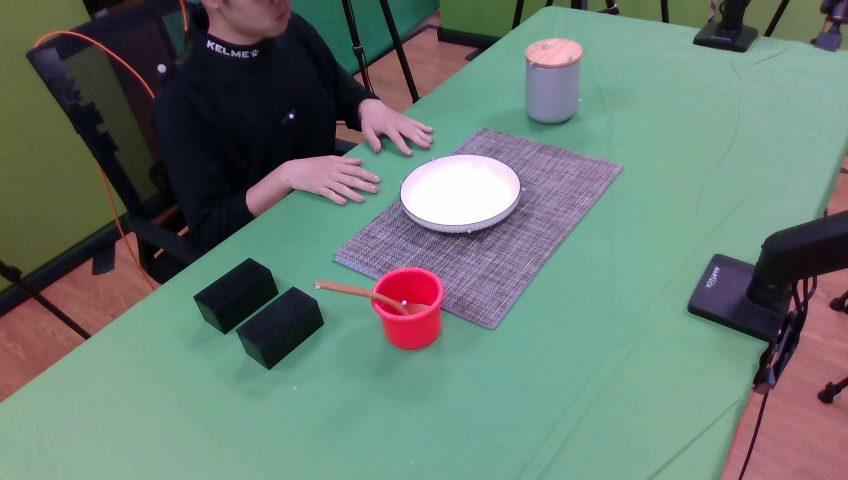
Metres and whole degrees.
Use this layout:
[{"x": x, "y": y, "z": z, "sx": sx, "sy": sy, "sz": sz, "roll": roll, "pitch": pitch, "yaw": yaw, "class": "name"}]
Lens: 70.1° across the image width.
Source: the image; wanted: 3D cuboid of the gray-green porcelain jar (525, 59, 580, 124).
[{"x": 0.256, "y": -0.305, "z": 1.209, "sx": 0.106, "sy": 0.127, "sz": 0.105, "roll": -4, "pitch": 41, "yaw": 4, "class": "gray-green porcelain jar"}]

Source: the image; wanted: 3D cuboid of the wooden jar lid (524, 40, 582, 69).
[{"x": 0.249, "y": -0.354, "z": 1.167, "sx": 0.108, "sy": 0.021, "sz": 0.108, "roll": -4, "pitch": 44, "yaw": 5, "class": "wooden jar lid"}]

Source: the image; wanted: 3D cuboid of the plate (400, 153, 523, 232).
[{"x": 0.065, "y": -0.078, "z": 1.034, "sx": 0.207, "sy": 0.039, "sz": 0.206, "roll": -4, "pitch": 41, "yaw": 4, "class": "plate"}]

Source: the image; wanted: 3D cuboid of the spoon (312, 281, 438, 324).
[{"x": -0.060, "y": 0.078, "z": 0.793, "sx": 0.195, "sy": 0.021, "sz": 0.041, "roll": 24, "pitch": 25, "yaw": -35, "class": "spoon"}]
